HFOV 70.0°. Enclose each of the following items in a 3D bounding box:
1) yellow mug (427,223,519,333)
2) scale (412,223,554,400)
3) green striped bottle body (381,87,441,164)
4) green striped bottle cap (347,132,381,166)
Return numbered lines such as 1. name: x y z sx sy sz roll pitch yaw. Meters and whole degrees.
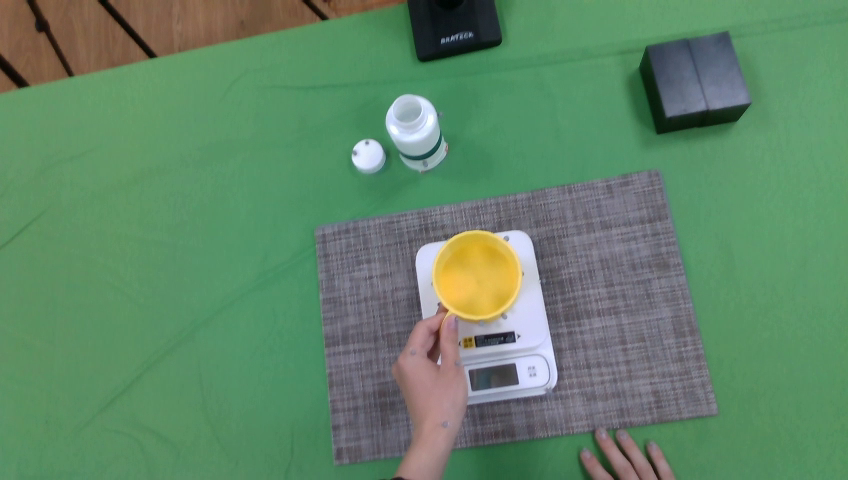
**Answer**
1. yellow mug: 0.048 0.049 0.686 0.099 0.064 0.130 31 85 10
2. scale: 0.069 0.084 0.733 0.148 0.032 0.200 -10 76 6
3. green striped bottle body: -0.016 -0.145 0.756 0.063 0.120 0.063 -2 75 8
4. green striped bottle cap: -0.080 -0.123 0.815 0.044 0.020 0.044 -1 82 6
